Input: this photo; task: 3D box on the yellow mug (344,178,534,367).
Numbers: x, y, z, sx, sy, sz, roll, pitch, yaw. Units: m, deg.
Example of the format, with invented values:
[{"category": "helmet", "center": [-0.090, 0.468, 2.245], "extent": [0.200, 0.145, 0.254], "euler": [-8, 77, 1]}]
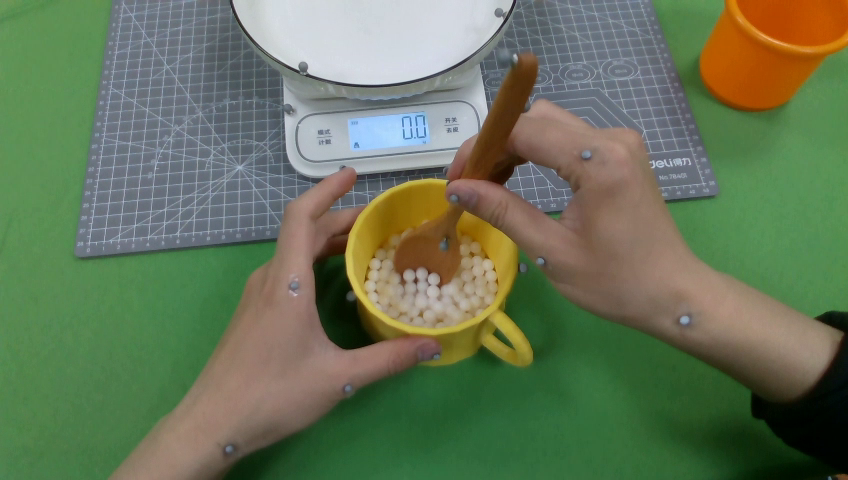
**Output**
[{"category": "yellow mug", "center": [0.016, 0.030, 0.370], "extent": [0.130, 0.064, 0.100], "euler": [41, 74, 17]}]

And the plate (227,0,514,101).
[{"category": "plate", "center": [-0.037, -0.183, 0.448], "extent": [0.209, 0.038, 0.207], "euler": [1, 65, -1]}]

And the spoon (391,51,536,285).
[{"category": "spoon", "center": [0.018, -0.023, 0.314], "extent": [0.042, 0.194, 0.021], "euler": [20, 60, -5]}]

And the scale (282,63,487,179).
[{"category": "scale", "center": [-0.034, -0.143, 0.465], "extent": [0.149, 0.032, 0.199], "euler": [-6, 66, -3]}]
